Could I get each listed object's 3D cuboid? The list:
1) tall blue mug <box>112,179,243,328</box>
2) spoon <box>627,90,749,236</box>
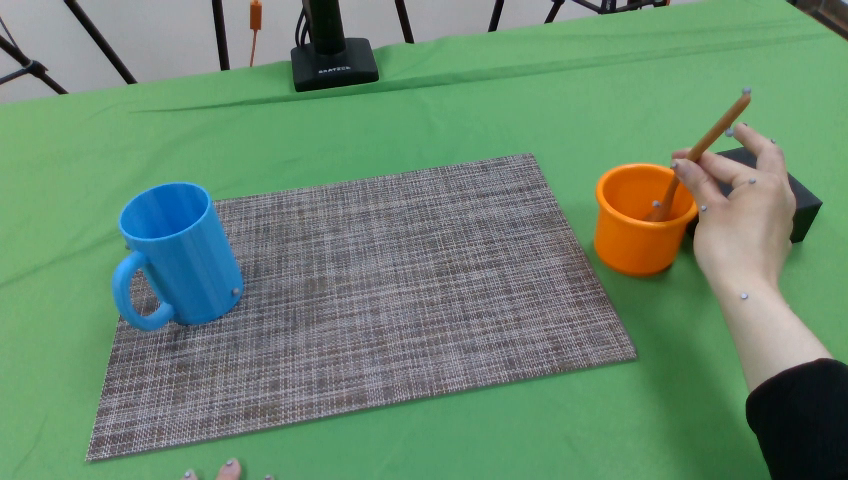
[{"bbox_3d":[-0.216,0.021,0.538,0.078,0.109,0.106,-3,44,0],"label":"tall blue mug"},{"bbox_3d":[0.222,-0.059,0.527,0.021,0.195,0.041,31,61,13],"label":"spoon"}]
